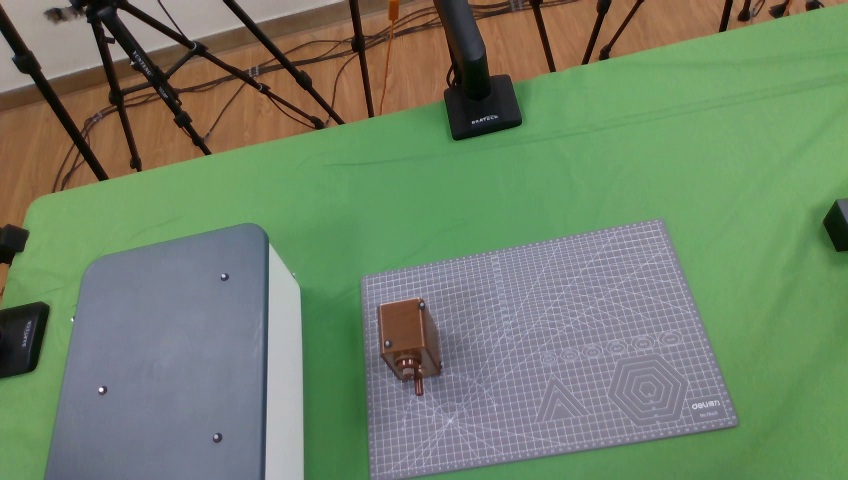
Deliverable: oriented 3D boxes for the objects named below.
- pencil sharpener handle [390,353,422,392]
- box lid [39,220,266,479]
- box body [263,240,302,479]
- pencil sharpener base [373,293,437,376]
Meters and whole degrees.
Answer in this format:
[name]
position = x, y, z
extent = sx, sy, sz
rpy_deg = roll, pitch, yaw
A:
[pencil sharpener handle]
position = -0.018, 0.165, 0.751
extent = 0.036, 0.068, 0.030
rpy_deg = -15, 58, 13
[box lid]
position = -0.316, 0.148, 0.727
extent = 0.263, 0.015, 0.367
rpy_deg = -12, 58, 5
[box body]
position = -0.302, 0.187, 0.788
extent = 0.254, 0.162, 0.360
rpy_deg = -13, 58, 5
[pencil sharpener base]
position = -0.023, 0.128, 0.788
extent = 0.061, 0.108, 0.076
rpy_deg = -11, 59, 6
